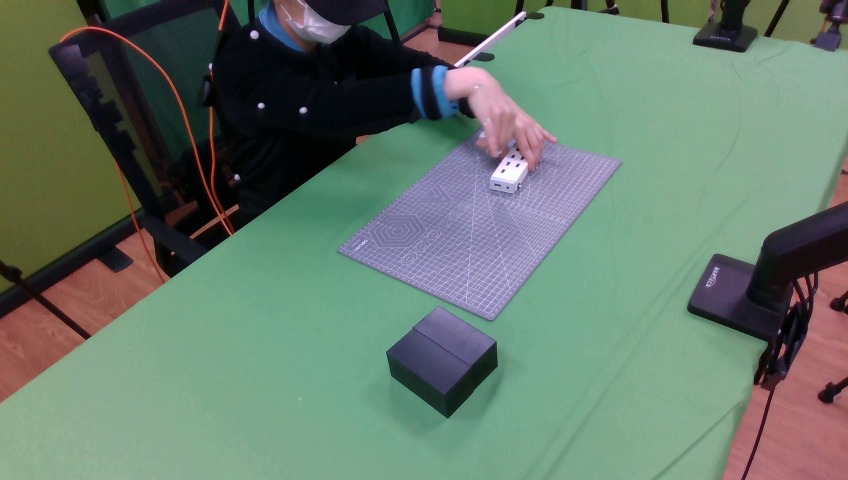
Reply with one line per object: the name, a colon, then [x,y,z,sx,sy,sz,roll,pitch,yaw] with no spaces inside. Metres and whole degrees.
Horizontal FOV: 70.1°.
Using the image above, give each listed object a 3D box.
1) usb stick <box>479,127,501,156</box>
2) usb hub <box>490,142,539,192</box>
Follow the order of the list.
usb stick: [0.113,-0.164,1.020,0.027,0.059,0.021,-1,62,23]
usb hub: [0.165,-0.132,1.092,0.049,0.025,0.125,15,45,23]
